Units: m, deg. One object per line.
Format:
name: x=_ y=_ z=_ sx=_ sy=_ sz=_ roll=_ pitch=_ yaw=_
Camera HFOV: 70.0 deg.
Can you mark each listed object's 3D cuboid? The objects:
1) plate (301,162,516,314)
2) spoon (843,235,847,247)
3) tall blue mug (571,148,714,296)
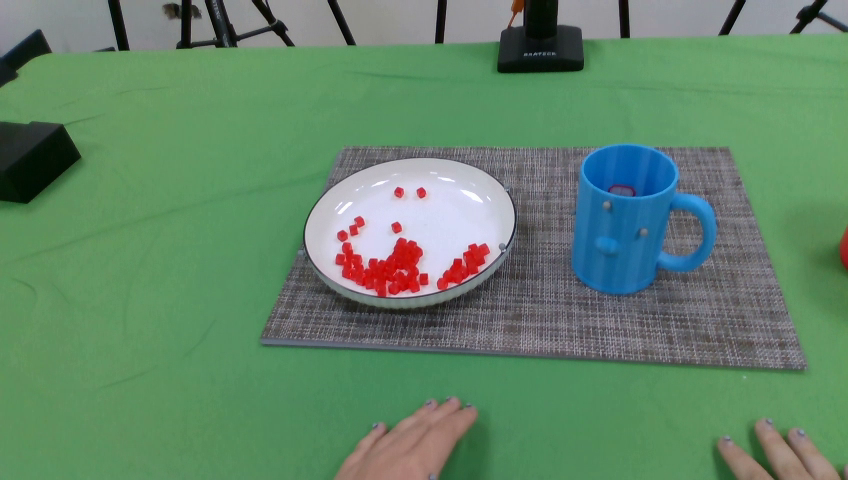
plate: x=-0.014 y=-0.003 z=0.595 sx=0.207 sy=0.039 sz=0.205 roll=-4 pitch=42 yaw=4
spoon: x=0.436 y=-0.016 z=0.475 sx=0.041 sy=0.193 sz=0.021 roll=-32 pitch=93 yaw=-31
tall blue mug: x=0.186 y=-0.015 z=0.527 sx=0.107 sy=0.109 sz=0.077 roll=-3 pitch=41 yaw=5
